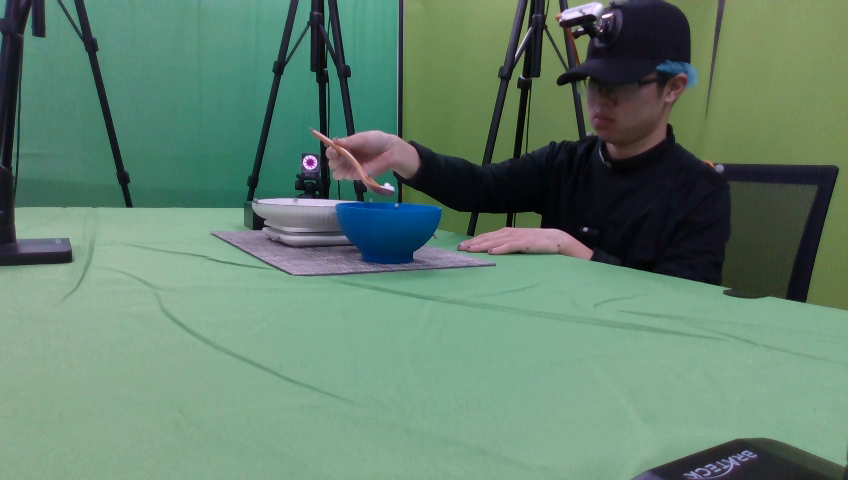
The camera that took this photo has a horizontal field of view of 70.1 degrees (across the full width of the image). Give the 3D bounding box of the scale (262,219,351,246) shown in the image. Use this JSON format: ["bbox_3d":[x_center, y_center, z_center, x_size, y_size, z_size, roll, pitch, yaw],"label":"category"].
[{"bbox_3d":[-0.160,-0.015,1.027,0.202,0.031,0.148,-2,8,-32],"label":"scale"}]

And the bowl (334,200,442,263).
[{"bbox_3d":[-0.051,-0.012,0.849,0.151,0.077,0.151,2,8,0],"label":"bowl"}]

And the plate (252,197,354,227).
[{"bbox_3d":[-0.179,-0.047,1.012,0.209,0.038,0.209,2,6,0],"label":"plate"}]

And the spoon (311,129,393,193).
[{"bbox_3d":[-0.113,-0.122,0.914,0.193,0.021,0.042,44,16,30],"label":"spoon"}]
